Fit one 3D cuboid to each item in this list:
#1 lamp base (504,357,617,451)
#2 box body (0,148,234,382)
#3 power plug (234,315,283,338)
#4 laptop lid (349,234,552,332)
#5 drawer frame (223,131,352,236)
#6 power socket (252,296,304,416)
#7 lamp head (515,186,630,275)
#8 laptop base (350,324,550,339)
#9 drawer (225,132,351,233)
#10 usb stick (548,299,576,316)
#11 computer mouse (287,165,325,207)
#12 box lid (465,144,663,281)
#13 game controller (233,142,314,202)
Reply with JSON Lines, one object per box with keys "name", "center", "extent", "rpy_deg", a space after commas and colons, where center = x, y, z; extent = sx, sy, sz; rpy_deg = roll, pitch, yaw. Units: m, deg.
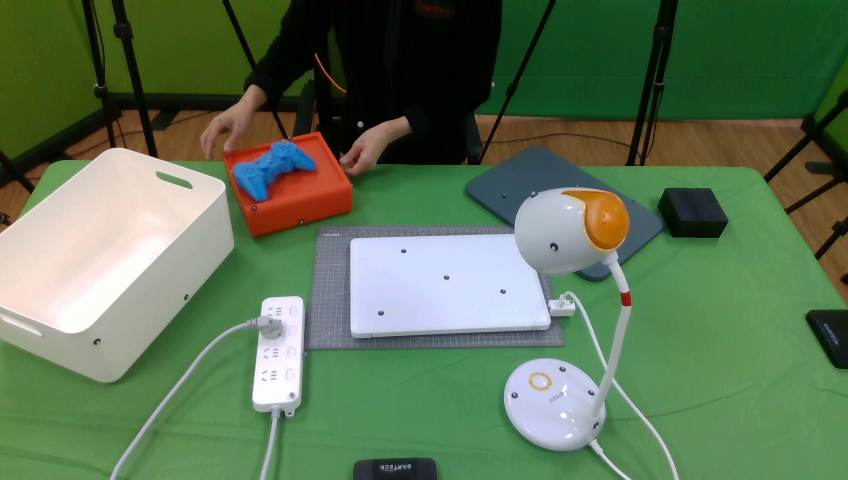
{"name": "lamp base", "center": [0.220, 0.211, 0.903], "extent": [0.160, 0.181, 0.178], "rpy_deg": [-32, 59, -30]}
{"name": "box body", "center": [-0.525, 0.033, 1.027], "extent": [0.254, 0.161, 0.362], "rpy_deg": [18, 47, 13]}
{"name": "power plug", "center": [-0.270, 0.143, 1.000], "extent": [0.072, 0.053, 0.035], "rpy_deg": [4, 47, 2]}
{"name": "laptop lid", "center": [0.040, 0.071, 1.118], "extent": [0.357, 0.013, 0.240], "rpy_deg": [0, 44, -5]}
{"name": "drawer frame", "center": [-0.280, -0.121, 1.250], "extent": [0.214, 0.083, 0.200], "rpy_deg": [-18, 51, -20]}
{"name": "power socket", "center": [-0.238, 0.181, 0.997], "extent": [0.072, 0.033, 0.225], "rpy_deg": [-3, 47, -5]}
{"name": "lamp head", "center": [0.188, -0.013, 0.728], "extent": [0.112, 0.112, 0.122], "rpy_deg": [-25, 9, -25]}
{"name": "laptop base", "center": [0.039, 0.081, 1.124], "extent": [0.355, 0.023, 0.234], "rpy_deg": [-2, 43, -6]}
{"name": "drawer", "center": [-0.280, -0.122, 1.253], "extent": [0.212, 0.073, 0.193], "rpy_deg": [-18, 51, -20]}
{"name": "usb stick", "center": [0.239, 0.121, 1.083], "extent": [0.059, 0.027, 0.021], "rpy_deg": [-1, 50, -2]}
{"name": "computer mouse", "center": [-0.249, -0.117, 1.272], "extent": [0.063, 0.041, 0.116], "rpy_deg": [-9, 51, -16]}
{"name": "box lid", "center": [0.297, -0.072, 1.298], "extent": [0.263, 0.015, 0.369], "rpy_deg": [-33, 56, -31]}
{"name": "game controller", "center": [-0.302, -0.144, 1.200], "extent": [0.096, 0.052, 0.155], "rpy_deg": [30, 50, 27]}
